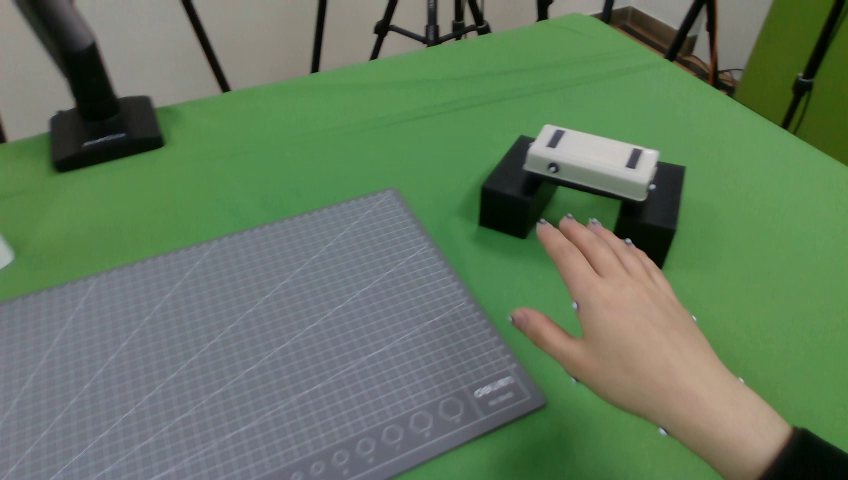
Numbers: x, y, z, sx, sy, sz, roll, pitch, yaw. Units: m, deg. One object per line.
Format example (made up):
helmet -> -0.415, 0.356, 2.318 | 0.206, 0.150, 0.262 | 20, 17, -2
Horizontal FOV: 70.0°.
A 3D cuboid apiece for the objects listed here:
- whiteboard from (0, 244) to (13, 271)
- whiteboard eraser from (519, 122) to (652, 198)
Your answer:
whiteboard -> -0.542, -0.045, 0.467 | 0.143, 0.308, 0.216 | 6, 40, 37
whiteboard eraser -> 0.149, -0.072, 0.562 | 0.112, 0.042, 0.055 | 17, 45, 18
